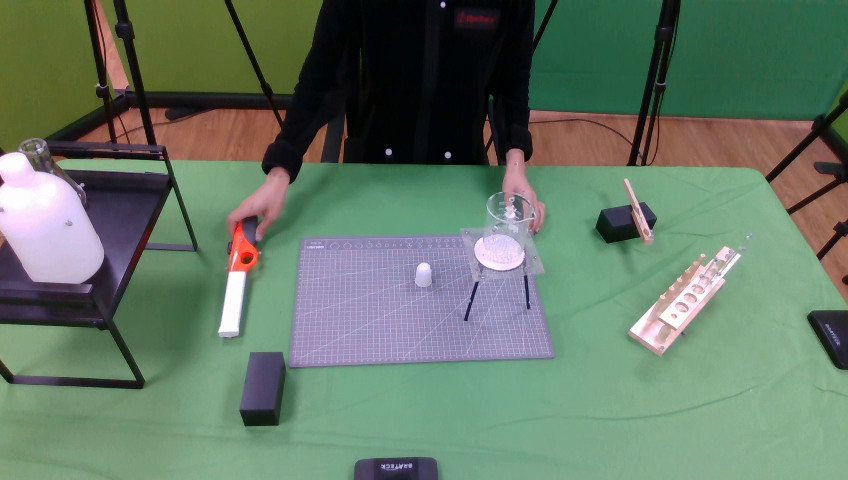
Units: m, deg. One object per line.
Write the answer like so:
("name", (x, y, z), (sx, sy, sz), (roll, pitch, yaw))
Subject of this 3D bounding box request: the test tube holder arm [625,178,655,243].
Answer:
("test tube holder arm", (0.433, -0.062, 1.220), (0.013, 0.015, 0.177), (1, 47, -3))

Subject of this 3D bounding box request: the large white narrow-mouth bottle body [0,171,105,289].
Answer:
("large white narrow-mouth bottle body", (-0.513, -0.029, 0.818), (0.102, 0.195, 0.101), (2, 46, -2))

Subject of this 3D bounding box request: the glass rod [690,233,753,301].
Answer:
("glass rod", (0.507, 0.053, 1.041), (0.008, 0.200, 0.008), (5, 51, -6))

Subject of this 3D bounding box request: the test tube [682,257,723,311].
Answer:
("test tube", (0.474, 0.080, 1.037), (0.017, 0.151, 0.017), (1, 51, -1))

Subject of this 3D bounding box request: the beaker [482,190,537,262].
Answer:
("beaker", (0.136, -0.019, 0.983), (0.084, 0.101, 0.073), (17, 47, 14))

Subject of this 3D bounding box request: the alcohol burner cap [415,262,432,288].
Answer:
("alcohol burner cap", (0.000, 0.061, 1.119), (0.034, 0.048, 0.033), (3, 43, -3))

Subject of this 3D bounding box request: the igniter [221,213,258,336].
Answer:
("igniter", (-0.335, 0.053, 1.105), (0.057, 0.025, 0.274), (0, 49, -7))

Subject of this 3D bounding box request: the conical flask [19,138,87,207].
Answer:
("conical flask", (-0.576, -0.097, 0.930), (0.075, 0.122, 0.075), (2, 46, -2))

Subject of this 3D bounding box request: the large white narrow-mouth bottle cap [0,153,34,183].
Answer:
("large white narrow-mouth bottle cap", (-0.510, -0.090, 0.754), (0.038, 0.024, 0.037), (2, 46, -2))

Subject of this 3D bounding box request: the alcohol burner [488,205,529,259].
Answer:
("alcohol burner", (0.163, -0.020, 1.158), (0.078, 0.120, 0.077), (1, 47, 0))

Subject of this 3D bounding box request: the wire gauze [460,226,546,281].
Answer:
("wire gauze", (0.130, 0.017, 1.016), (0.121, 0.011, 0.124), (-4, 43, -9))

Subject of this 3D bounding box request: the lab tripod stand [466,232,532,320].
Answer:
("lab tripod stand", (0.125, 0.059, 1.065), (0.148, 0.132, 0.147), (1, 45, 0))

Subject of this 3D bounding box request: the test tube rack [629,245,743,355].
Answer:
("test tube rack", (0.474, 0.095, 1.091), (0.242, 0.085, 0.066), (-34, 56, -31))

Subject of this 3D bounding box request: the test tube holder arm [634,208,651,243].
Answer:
("test tube holder arm", (0.428, -0.030, 1.189), (0.010, 0.015, 0.087), (1, 47, -2))
